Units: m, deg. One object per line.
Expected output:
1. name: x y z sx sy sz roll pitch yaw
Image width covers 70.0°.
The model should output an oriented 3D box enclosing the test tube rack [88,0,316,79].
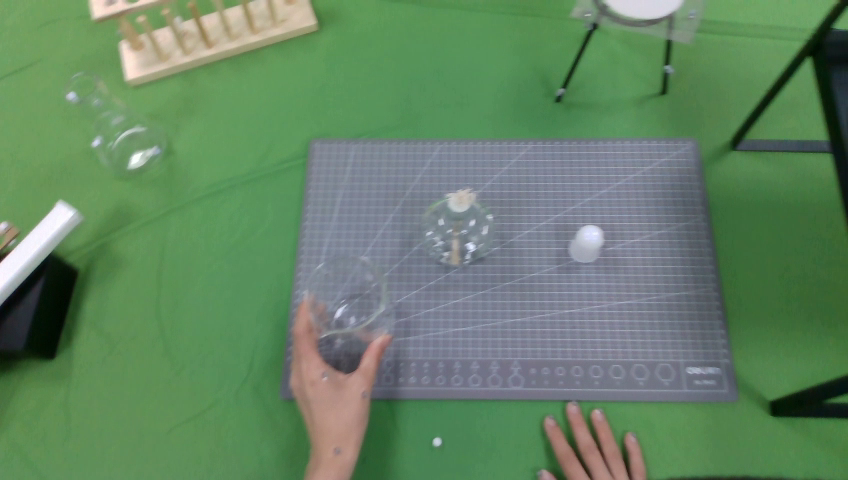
1. test tube rack: -0.264 -0.282 0.738 0.242 0.086 0.066 -19 68 -6

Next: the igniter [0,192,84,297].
1. igniter: -0.441 0.065 0.585 0.057 0.025 0.276 28 70 22

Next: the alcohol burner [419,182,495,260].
1. alcohol burner: 0.034 -0.025 0.608 0.078 0.120 0.077 0 67 0

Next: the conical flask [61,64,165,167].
1. conical flask: -0.344 -0.139 0.663 0.075 0.123 0.075 -1 67 2

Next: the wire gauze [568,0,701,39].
1. wire gauze: 0.224 -0.265 0.618 0.121 0.011 0.124 21 71 8

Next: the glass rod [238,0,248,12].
1. glass rod: -0.242 -0.341 0.689 0.008 0.201 0.008 -4 61 7

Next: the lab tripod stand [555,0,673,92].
1. lab tripod stand: 0.219 -0.238 0.680 0.148 0.132 0.147 0 67 0

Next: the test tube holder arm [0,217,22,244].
1. test tube holder arm: -0.442 0.012 0.608 0.010 0.015 0.087 44 73 -14

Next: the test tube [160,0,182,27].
1. test tube: -0.308 -0.304 0.695 0.017 0.151 0.017 1 64 -2

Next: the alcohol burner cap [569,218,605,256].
1. alcohol burner cap: 0.173 -0.006 0.634 0.034 0.048 0.033 0 68 1

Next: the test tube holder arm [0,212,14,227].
1. test tube holder arm: -0.473 0.042 0.594 0.013 0.015 0.178 43 73 -15

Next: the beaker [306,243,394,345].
1. beaker: -0.068 0.060 0.584 0.073 0.101 0.083 27 72 13
